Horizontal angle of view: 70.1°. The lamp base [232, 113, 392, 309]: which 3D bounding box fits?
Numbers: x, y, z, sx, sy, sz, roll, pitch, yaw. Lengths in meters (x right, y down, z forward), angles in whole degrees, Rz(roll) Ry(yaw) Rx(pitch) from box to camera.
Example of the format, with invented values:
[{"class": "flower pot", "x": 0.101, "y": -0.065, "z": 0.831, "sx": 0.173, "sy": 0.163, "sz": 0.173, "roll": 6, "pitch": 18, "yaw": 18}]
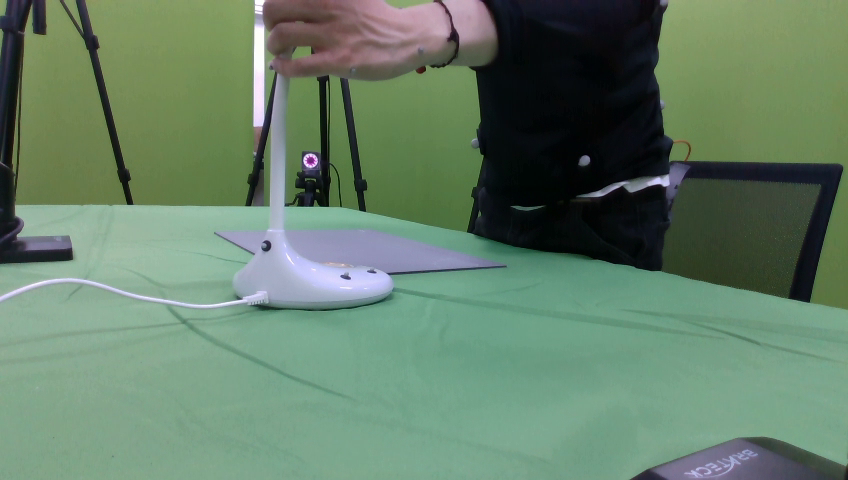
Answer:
[{"class": "lamp base", "x": -0.113, "y": -0.031, "z": 0.594, "sx": 0.160, "sy": 0.180, "sz": 0.179, "roll": 4, "pitch": 10, "yaw": 18}]
